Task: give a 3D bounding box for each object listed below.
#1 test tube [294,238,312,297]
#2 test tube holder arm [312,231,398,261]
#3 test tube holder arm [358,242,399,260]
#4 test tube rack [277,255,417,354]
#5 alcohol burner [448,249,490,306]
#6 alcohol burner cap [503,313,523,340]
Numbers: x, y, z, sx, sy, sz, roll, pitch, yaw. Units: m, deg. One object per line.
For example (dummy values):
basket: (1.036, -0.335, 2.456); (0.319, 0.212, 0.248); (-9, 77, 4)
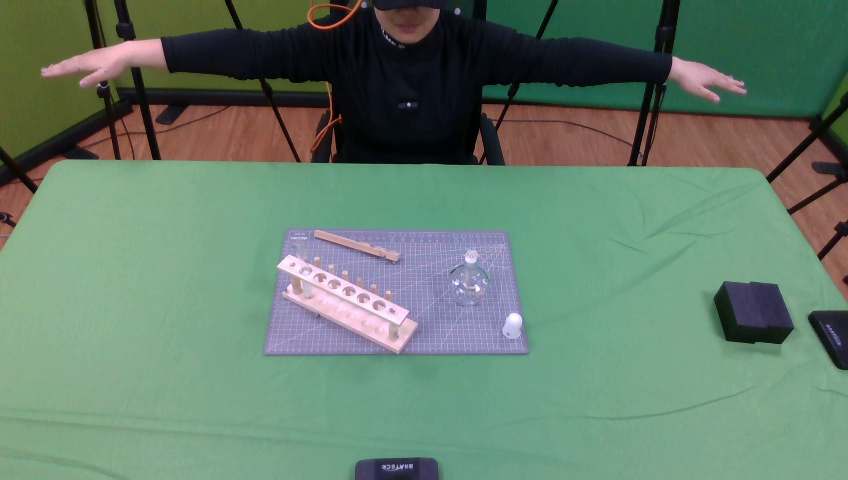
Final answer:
test tube: (-0.202, 0.050, 1.018); (0.017, 0.151, 0.017); (2, 50, -2)
test tube holder arm: (-0.135, 0.011, 1.175); (0.178, 0.015, 0.013); (15, 13, 11)
test tube holder arm: (-0.090, 0.021, 1.172); (0.087, 0.015, 0.010); (15, 13, 12)
test tube rack: (-0.132, 0.099, 1.045); (0.241, 0.085, 0.066); (23, 49, 17)
alcohol burner: (0.081, 0.062, 1.078); (0.078, 0.120, 0.077); (1, 45, -1)
alcohol burner cap: (0.155, 0.147, 1.051); (0.034, 0.048, 0.033); (1, 45, -1)
